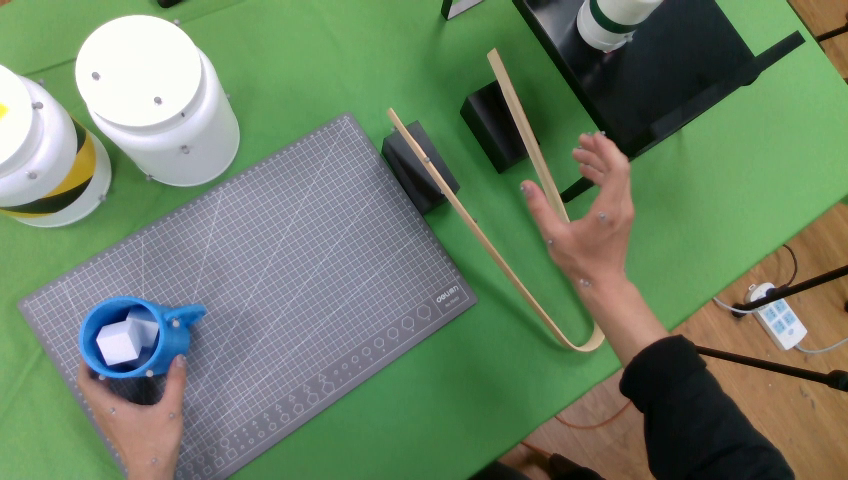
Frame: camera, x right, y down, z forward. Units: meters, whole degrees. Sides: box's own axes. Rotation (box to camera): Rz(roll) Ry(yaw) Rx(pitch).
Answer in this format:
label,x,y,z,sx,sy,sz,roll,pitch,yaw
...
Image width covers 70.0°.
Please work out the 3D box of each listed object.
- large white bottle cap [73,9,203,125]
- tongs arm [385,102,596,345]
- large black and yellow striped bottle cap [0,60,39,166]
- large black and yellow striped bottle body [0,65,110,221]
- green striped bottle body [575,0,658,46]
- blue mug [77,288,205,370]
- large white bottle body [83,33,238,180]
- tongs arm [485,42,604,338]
label,x,y,z,sx,sy,sz,roll,pitch,yaw
large white bottle cap,-0.273,-0.167,0.581,0.115,0.018,0.114,2,79,-8
tongs arm,0.085,-0.016,0.737,0.051,0.026,0.386,-38,100,-15
large black and yellow striped bottle cap,-0.418,-0.117,0.553,0.115,0.019,0.114,2,80,-10
large black and yellow striped bottle body,-0.428,-0.101,0.634,0.131,0.184,0.130,2,79,-8
green striped bottle body,0.201,-0.250,0.602,0.063,0.119,0.063,1,79,-8
blue mug,-0.296,0.092,0.659,0.116,0.106,0.082,-25,84,-12
large white bottle body,-0.284,-0.150,0.663,0.131,0.185,0.130,1,80,-8
tongs arm,0.151,-0.059,0.756,0.028,0.027,0.388,-25,97,-20
